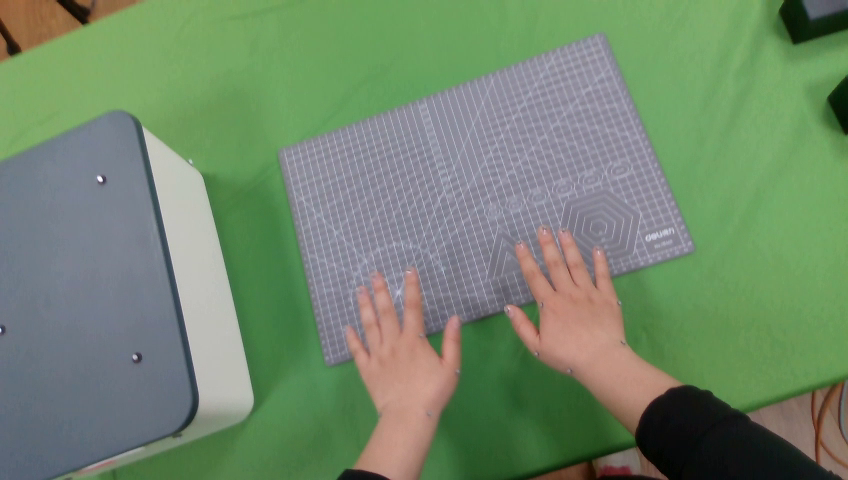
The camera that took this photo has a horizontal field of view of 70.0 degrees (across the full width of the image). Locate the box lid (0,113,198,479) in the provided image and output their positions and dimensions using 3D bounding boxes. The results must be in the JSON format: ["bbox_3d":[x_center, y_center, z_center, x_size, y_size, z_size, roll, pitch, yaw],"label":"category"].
[{"bbox_3d":[-0.393,0.057,0.648,0.263,0.015,0.369,-21,73,5],"label":"box lid"}]

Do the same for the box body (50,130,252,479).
[{"bbox_3d":[-0.378,0.079,0.718,0.254,0.161,0.361,-21,72,5],"label":"box body"}]
